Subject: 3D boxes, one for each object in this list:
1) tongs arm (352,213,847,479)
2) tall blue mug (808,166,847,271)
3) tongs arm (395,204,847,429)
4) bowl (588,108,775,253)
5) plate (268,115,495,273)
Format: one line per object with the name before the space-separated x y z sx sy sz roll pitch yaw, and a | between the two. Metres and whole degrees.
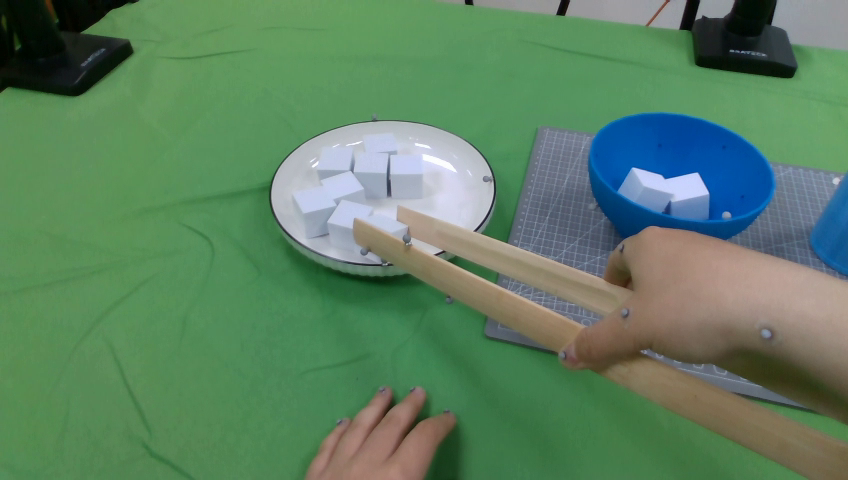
tongs arm | 0.080 0.043 0.376 0.051 0.026 0.381 -13 26 -37
tall blue mug | 0.398 -0.027 0.499 0.106 0.109 0.077 20 48 19
tongs arm | 0.101 0.037 0.395 0.028 0.028 0.384 -11 25 -41
bowl | 0.214 -0.042 0.534 0.151 0.077 0.150 0 45 0
plate | -0.038 -0.044 0.566 0.209 0.038 0.207 1 46 -1
